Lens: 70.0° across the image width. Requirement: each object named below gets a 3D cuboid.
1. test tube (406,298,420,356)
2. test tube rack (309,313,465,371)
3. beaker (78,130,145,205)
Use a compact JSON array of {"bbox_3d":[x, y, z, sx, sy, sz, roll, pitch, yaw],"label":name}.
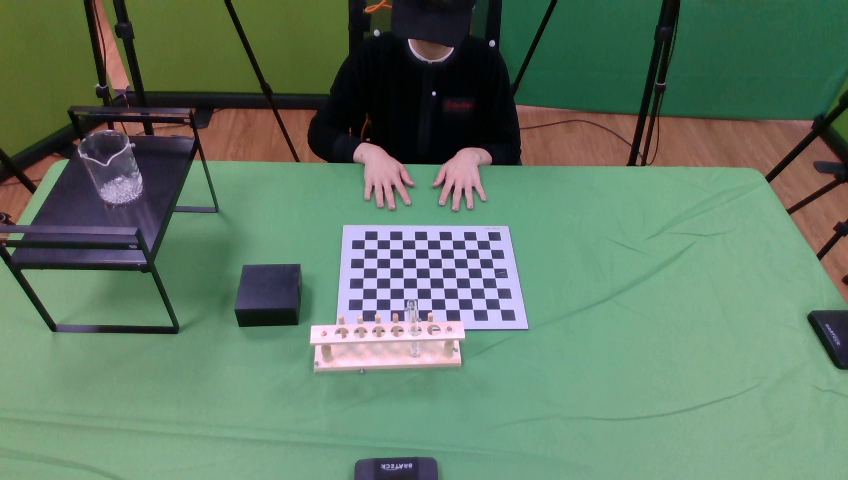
[{"bbox_3d":[-0.017,0.139,0.945,0.017,0.151,0.017,-1,50,2],"label":"test tube"},{"bbox_3d":[-0.059,0.161,0.990,0.242,0.085,0.066,-1,46,-5],"label":"test tube rack"},{"bbox_3d":[-0.493,-0.111,0.965,0.074,0.101,0.083,-14,49,-16],"label":"beaker"}]
